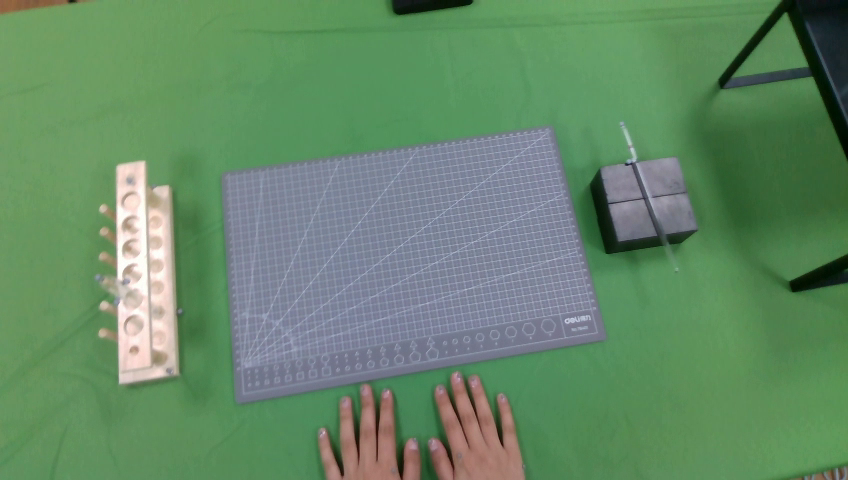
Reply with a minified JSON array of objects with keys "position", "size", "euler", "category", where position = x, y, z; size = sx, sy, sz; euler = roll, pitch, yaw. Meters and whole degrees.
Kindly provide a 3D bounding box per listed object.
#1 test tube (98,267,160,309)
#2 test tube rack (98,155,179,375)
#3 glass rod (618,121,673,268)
[{"position":[-0.316,0.055,0.657],"size":[0.017,0.151,0.017],"euler":[2,73,-6],"category":"test tube"},{"position":[-0.343,0.030,0.716],"size":[0.067,0.085,0.240],"euler":[-9,73,-3],"category":"test tube rack"},{"position":[0.272,-0.059,0.746],"size":[0.008,0.008,0.198],"euler":[-12,73,-5],"category":"glass rod"}]
